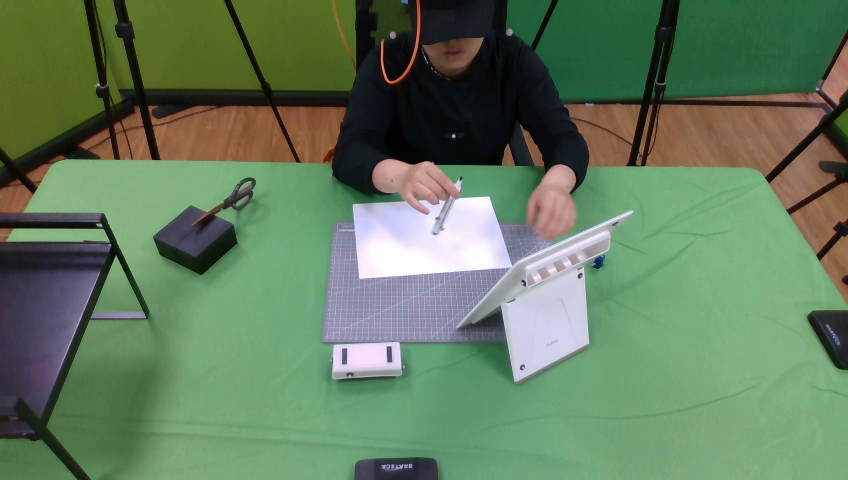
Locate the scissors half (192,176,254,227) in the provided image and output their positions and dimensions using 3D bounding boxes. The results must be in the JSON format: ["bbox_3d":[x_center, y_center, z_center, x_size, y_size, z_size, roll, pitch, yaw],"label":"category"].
[{"bbox_3d":[-0.388,-0.075,1.174,0.013,0.040,0.174,29,47,8],"label":"scissors half"}]

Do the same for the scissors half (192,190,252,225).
[{"bbox_3d":[-0.393,-0.060,1.187,0.013,0.040,0.175,25,29,12],"label":"scissors half"}]

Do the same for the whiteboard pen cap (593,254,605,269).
[{"bbox_3d":[0.340,0.041,1.179,0.018,0.033,0.018,1,45,-1],"label":"whiteboard pen cap"}]

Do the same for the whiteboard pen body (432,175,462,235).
[{"bbox_3d":[0.042,-0.062,1.078,0.017,0.141,0.017,13,42,-12],"label":"whiteboard pen body"}]

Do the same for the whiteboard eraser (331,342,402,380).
[{"bbox_3d":[-0.094,0.198,0.986,0.113,0.042,0.055,-2,44,-6],"label":"whiteboard eraser"}]

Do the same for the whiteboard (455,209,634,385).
[{"bbox_3d":[0.211,0.111,0.955,0.217,0.306,0.143,-21,71,-23],"label":"whiteboard"}]
